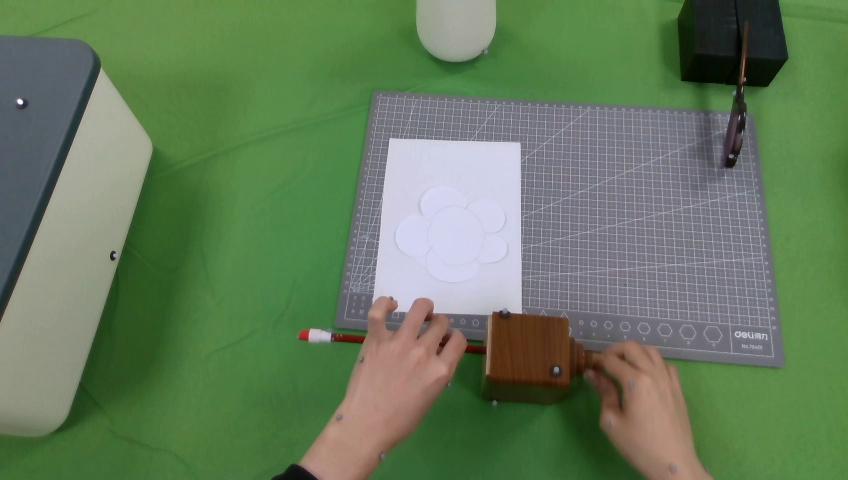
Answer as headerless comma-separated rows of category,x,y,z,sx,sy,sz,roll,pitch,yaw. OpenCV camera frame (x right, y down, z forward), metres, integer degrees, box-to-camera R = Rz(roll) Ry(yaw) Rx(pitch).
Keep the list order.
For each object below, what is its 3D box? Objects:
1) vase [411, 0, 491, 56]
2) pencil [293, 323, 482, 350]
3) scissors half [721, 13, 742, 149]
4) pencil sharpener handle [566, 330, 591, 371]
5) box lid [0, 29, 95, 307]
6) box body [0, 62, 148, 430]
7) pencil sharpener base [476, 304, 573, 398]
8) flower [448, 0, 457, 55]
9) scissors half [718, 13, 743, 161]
vase,0.029,-0.302,0.678,0.098,0.201,0.097,-1,66,3
pencil,-0.018,0.087,0.536,0.194,0.012,0.012,5,67,0
scissors half,0.340,-0.178,0.660,0.013,0.040,0.174,9,68,15
pencil sharpener handle,0.140,0.103,0.542,0.030,0.068,0.035,4,67,4
box lid,-0.459,-0.040,0.523,0.263,0.015,0.369,5,67,3
box body,-0.456,-0.008,0.591,0.254,0.161,0.361,4,68,4
pencil sharpener base,0.089,0.105,0.556,0.076,0.108,0.061,4,67,4
flower,0.020,-0.348,0.606,0.044,0.365,0.038,-2,49,5
scissors half,0.345,-0.172,0.678,0.012,0.040,0.175,9,86,21
